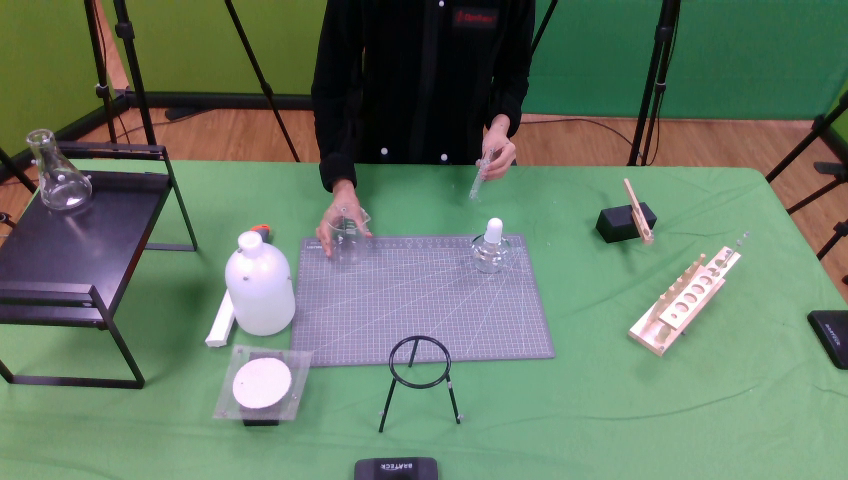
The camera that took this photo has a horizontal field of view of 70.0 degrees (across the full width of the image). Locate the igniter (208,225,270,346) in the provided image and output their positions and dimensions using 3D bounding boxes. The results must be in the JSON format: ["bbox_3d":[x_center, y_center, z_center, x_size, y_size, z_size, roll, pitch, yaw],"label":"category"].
[{"bbox_3d":[-0.331,0.073,1.099,0.057,0.025,0.275,-4,45,11],"label":"igniter"}]

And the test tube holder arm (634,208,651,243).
[{"bbox_3d":[0.428,-0.030,1.189,0.010,0.015,0.087,1,47,-2],"label":"test tube holder arm"}]

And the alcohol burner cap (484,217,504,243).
[{"bbox_3d":[0.129,-0.021,1.107,0.034,0.048,0.033,4,41,-3],"label":"alcohol burner cap"}]

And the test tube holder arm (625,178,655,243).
[{"bbox_3d":[0.433,-0.062,1.220,0.013,0.015,0.177,1,47,-3],"label":"test tube holder arm"}]

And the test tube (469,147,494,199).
[{"bbox_3d":[0.112,-0.130,1.198,0.017,0.151,0.017,5,56,-8],"label":"test tube"}]

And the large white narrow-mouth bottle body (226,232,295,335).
[{"bbox_3d":[-0.270,0.065,0.995,0.102,0.195,0.101,2,46,-2],"label":"large white narrow-mouth bottle body"}]

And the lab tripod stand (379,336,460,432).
[{"bbox_3d":[-0.011,0.214,0.911,0.148,0.132,0.147,1,45,0],"label":"lab tripod stand"}]

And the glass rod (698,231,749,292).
[{"bbox_3d":[0.515,0.044,1.051,0.008,0.200,0.008,1,55,-1],"label":"glass rod"}]

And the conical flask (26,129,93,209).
[{"bbox_3d":[-0.575,-0.113,0.946,0.075,0.122,0.075,2,46,-2],"label":"conical flask"}]

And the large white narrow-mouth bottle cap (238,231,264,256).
[{"bbox_3d":[-0.266,0.006,0.932,0.038,0.024,0.037,2,46,-2],"label":"large white narrow-mouth bottle cap"}]

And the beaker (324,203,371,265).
[{"bbox_3d":[-0.142,-0.009,1.137,0.084,0.101,0.073,-2,47,-7],"label":"beaker"}]

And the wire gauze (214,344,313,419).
[{"bbox_3d":[-0.241,0.213,0.915,0.121,0.011,0.124,5,46,1],"label":"wire gauze"}]

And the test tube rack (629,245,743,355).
[{"bbox_3d":[0.474,0.095,1.091,0.242,0.085,0.066,-34,56,-31],"label":"test tube rack"}]

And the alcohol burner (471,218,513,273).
[{"bbox_3d":[0.128,0.005,1.132,0.078,0.120,0.077,0,47,0],"label":"alcohol burner"}]
